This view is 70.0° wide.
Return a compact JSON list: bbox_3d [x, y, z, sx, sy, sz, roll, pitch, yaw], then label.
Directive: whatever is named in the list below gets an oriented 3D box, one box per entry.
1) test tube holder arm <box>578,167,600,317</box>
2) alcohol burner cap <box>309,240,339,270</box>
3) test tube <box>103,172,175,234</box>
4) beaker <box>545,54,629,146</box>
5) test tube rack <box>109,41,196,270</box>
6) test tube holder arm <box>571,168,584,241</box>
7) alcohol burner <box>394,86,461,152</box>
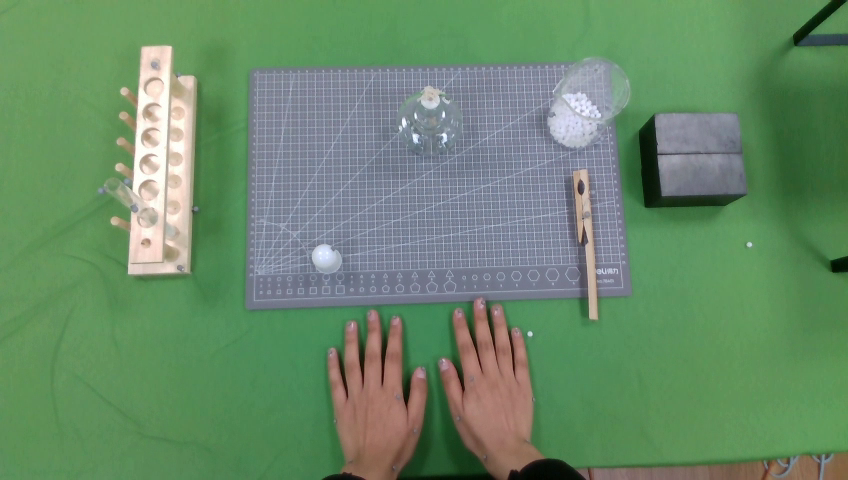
[{"bbox_3d":[0.193,0.002,0.714,0.013,0.015,0.177,-9,79,28],"label":"test tube holder arm"},{"bbox_3d":[-0.116,0.015,0.688,0.034,0.048,0.033,1,79,-3],"label":"alcohol burner cap"},{"bbox_3d":[-0.288,-0.034,0.622,0.017,0.151,0.017,1,74,-2],"label":"test tube"},{"bbox_3d":[0.181,-0.156,0.703,0.084,0.100,0.073,-3,79,-1],"label":"beaker"},{"bbox_3d":[-0.308,-0.092,0.682,0.067,0.085,0.241,-2,79,-2],"label":"test tube rack"},{"bbox_3d":[0.185,-0.042,0.723,0.010,0.015,0.087,-8,80,29],"label":"test tube holder arm"},{"bbox_3d":[0.004,-0.144,0.686,0.078,0.119,0.077,0,80,0],"label":"alcohol burner"}]
